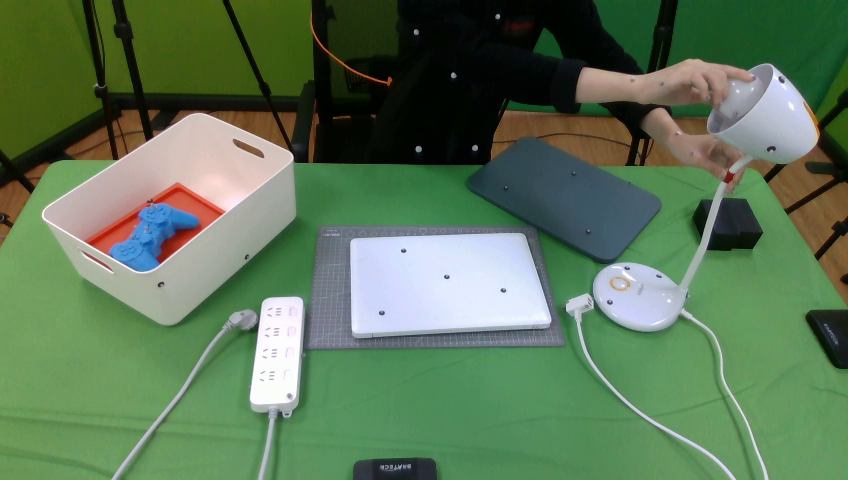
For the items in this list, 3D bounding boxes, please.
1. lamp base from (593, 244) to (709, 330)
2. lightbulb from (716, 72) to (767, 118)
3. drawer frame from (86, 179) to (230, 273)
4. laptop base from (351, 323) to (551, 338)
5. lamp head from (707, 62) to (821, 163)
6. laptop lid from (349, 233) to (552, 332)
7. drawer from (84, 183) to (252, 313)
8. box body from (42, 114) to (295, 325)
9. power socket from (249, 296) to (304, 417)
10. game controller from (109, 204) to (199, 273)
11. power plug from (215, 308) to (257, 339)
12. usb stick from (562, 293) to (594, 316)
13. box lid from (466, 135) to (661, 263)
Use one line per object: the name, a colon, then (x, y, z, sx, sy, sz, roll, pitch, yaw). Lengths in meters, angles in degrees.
lamp base: (0.412, 0.052, 1.070, 0.179, 0.181, 0.160, 18, 48, 9)
lightbulb: (0.440, -0.179, 0.805, 0.108, 0.059, 0.059, 33, 49, -6)
drawer frame: (-0.453, 0.010, 1.100, 0.201, 0.083, 0.213, 28, 54, 23)
laptop base: (0.040, 0.080, 1.125, 0.355, 0.023, 0.234, -2, 43, -6)
lamp head: (0.462, -0.156, 0.813, 0.123, 0.112, 0.112, 36, 47, -12)
laptop lid: (0.040, 0.070, 1.119, 0.357, 0.013, 0.240, -1, 44, -5)
drawer: (-0.457, 0.008, 1.099, 0.194, 0.073, 0.211, 29, 49, 21)
box body: (-0.437, -0.046, 1.110, 0.253, 0.161, 0.363, 24, 49, 19)
power socket: (-0.239, 0.182, 0.996, 0.072, 0.033, 0.225, -2, 47, -5)
game controller: (-0.467, -0.005, 1.044, 0.097, 0.052, 0.154, 8, 45, 10)
power plug: (-0.317, 0.143, 1.024, 0.072, 0.053, 0.035, -32, 58, -9)
usb stick: (0.274, 0.118, 1.087, 0.021, 0.059, 0.027, 38, 45, -27)
box lid: (0.306, -0.102, 1.327, 0.370, 0.015, 0.263, 32, 52, 25)
